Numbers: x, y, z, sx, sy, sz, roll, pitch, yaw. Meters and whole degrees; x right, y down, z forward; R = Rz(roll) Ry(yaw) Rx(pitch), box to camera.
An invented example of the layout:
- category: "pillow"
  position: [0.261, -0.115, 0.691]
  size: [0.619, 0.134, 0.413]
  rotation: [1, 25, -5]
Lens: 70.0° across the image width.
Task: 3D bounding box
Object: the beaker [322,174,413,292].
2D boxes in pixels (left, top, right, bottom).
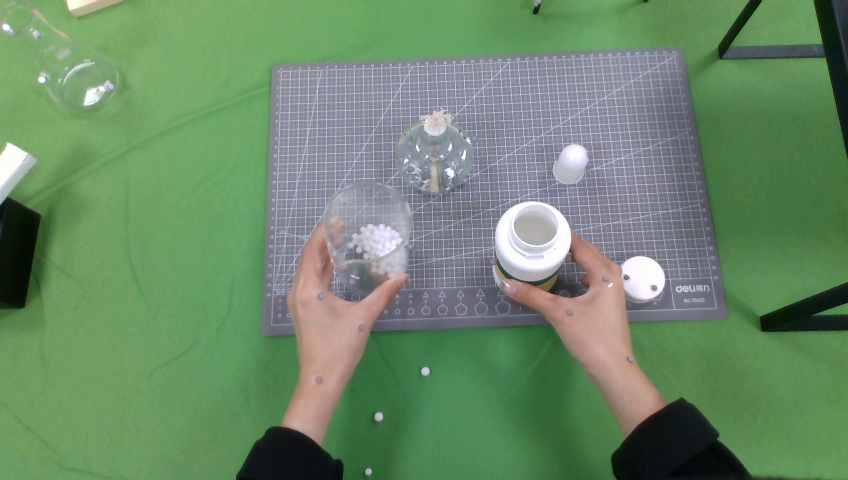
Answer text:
- category: "beaker"
  position: [-0.050, 0.001, 0.537]
  size: [0.074, 0.101, 0.083]
  rotation: [31, 69, 10]

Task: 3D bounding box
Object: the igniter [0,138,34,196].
- category: "igniter"
  position: [-0.461, 0.023, 0.554]
  size: [0.057, 0.025, 0.276]
  rotation: [27, 75, 18]

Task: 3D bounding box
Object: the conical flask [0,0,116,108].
- category: "conical flask"
  position: [-0.377, -0.193, 0.613]
  size: [0.075, 0.122, 0.075]
  rotation: [0, 73, 2]

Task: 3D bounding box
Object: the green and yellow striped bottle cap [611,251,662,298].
- category: "green and yellow striped bottle cap"
  position: [0.207, 0.033, 0.588]
  size: [0.045, 0.020, 0.045]
  rotation: [0, 76, 1]

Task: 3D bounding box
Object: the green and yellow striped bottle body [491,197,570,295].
- category: "green and yellow striped bottle body"
  position: [0.091, 0.004, 0.529]
  size: [0.063, 0.120, 0.063]
  rotation: [-1, 71, 4]

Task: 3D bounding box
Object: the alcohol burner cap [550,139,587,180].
- category: "alcohol burner cap"
  position: [0.147, -0.084, 0.609]
  size: [0.034, 0.048, 0.033]
  rotation: [0, 73, 1]

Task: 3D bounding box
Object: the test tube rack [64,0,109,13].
- category: "test tube rack"
  position: [-0.307, -0.347, 0.675]
  size: [0.242, 0.085, 0.066]
  rotation: [-23, 74, -5]

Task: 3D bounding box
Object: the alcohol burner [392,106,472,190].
- category: "alcohol burner"
  position: [0.008, -0.093, 0.577]
  size: [0.078, 0.120, 0.077]
  rotation: [0, 72, 0]

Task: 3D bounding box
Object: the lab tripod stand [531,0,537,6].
- category: "lab tripod stand"
  position: [0.180, -0.322, 0.631]
  size: [0.148, 0.132, 0.147]
  rotation: [0, 73, 0]
